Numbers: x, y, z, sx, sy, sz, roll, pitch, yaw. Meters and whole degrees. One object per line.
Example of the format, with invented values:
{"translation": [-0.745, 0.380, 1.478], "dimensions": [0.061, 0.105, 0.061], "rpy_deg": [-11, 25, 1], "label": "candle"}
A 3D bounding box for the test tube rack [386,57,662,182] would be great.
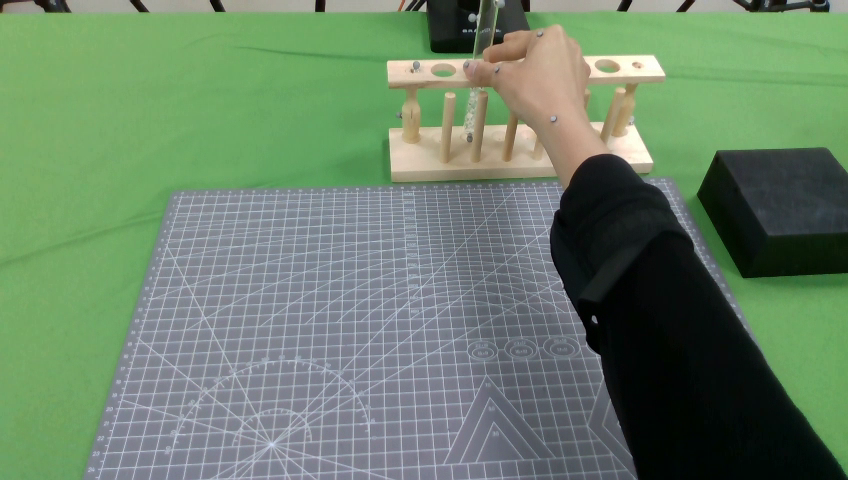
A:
{"translation": [0.088, -0.110, 0.552], "dimensions": [0.243, 0.086, 0.066], "rpy_deg": [-2, 47, -4], "label": "test tube rack"}

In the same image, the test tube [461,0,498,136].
{"translation": [0.047, -0.154, 0.522], "dimensions": [0.017, 0.151, 0.017], "rpy_deg": [3, 45, -3], "label": "test tube"}
